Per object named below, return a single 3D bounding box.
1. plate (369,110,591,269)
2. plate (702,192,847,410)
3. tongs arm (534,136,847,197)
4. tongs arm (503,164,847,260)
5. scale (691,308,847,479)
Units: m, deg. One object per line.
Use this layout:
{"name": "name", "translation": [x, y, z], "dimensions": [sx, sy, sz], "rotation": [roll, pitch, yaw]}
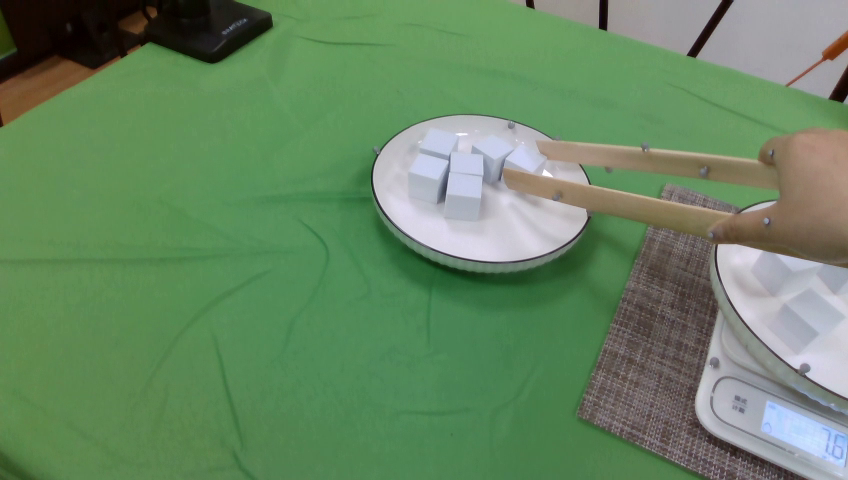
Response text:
{"name": "plate", "translation": [0.052, -0.048, 0.575], "dimensions": [0.209, 0.038, 0.207], "rotation": [3, 47, -3]}
{"name": "plate", "translation": [0.317, 0.047, 0.469], "dimensions": [0.208, 0.039, 0.205], "rotation": [4, 48, -4]}
{"name": "tongs arm", "translation": [0.226, -0.043, 0.448], "dimensions": [0.381, 0.027, 0.050], "rotation": [16, 50, 45]}
{"name": "tongs arm", "translation": [0.204, -0.023, 0.436], "dimensions": [0.028, 0.028, 0.384], "rotation": [-39, 35, -27]}
{"name": "scale", "translation": [0.302, 0.088, 0.475], "dimensions": [0.148, 0.032, 0.200], "rotation": [24, 50, 16]}
